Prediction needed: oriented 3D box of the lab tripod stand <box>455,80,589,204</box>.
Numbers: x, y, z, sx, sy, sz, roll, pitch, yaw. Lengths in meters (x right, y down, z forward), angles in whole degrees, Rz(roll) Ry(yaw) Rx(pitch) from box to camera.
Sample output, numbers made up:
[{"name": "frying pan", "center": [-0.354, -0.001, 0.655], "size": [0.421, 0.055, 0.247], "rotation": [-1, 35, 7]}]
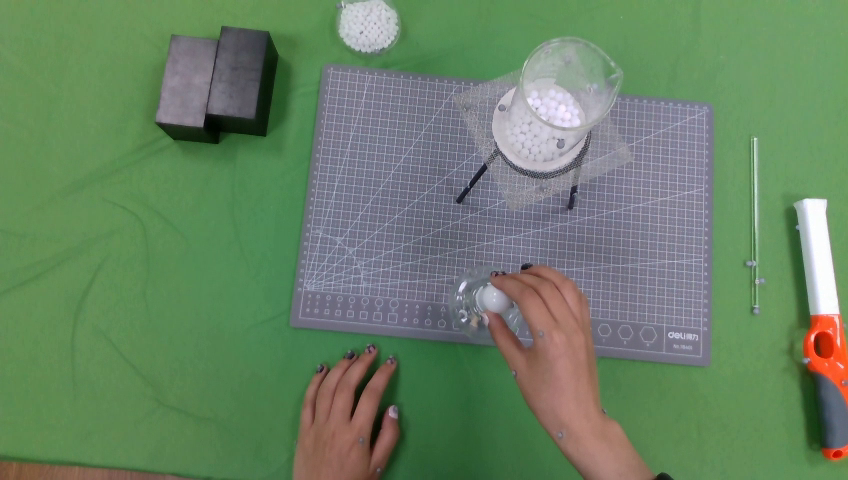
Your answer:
[{"name": "lab tripod stand", "center": [0.101, -0.089, 0.613], "size": [0.148, 0.132, 0.148], "rotation": [0, 82, -2]}]

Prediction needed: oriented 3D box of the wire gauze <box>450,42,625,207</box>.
[{"name": "wire gauze", "center": [0.104, -0.105, 0.549], "size": [0.125, 0.011, 0.121], "rotation": [-24, 85, -7]}]

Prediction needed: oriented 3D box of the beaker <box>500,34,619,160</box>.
[{"name": "beaker", "center": [0.106, -0.113, 0.501], "size": [0.084, 0.100, 0.073], "rotation": [-15, 82, -5]}]

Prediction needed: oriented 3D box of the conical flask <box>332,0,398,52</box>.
[{"name": "conical flask", "center": [-0.066, -0.260, 0.643], "size": [0.075, 0.122, 0.075], "rotation": [0, 80, -2]}]

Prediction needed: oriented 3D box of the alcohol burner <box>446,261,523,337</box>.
[{"name": "alcohol burner", "center": [0.062, 0.056, 0.597], "size": [0.078, 0.119, 0.077], "rotation": [1, 79, -4]}]

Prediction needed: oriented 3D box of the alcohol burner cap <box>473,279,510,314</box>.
[{"name": "alcohol burner cap", "center": [0.063, 0.050, 0.552], "size": [0.034, 0.048, 0.033], "rotation": [0, 81, -3]}]

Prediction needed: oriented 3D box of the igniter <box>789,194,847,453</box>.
[{"name": "igniter", "center": [0.428, 0.086, 0.653], "size": [0.057, 0.025, 0.275], "rotation": [1, 81, -13]}]

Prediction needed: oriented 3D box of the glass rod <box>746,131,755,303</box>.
[{"name": "glass rod", "center": [0.367, -0.028, 0.680], "size": [0.008, 0.008, 0.199], "rotation": [5, 80, -2]}]
